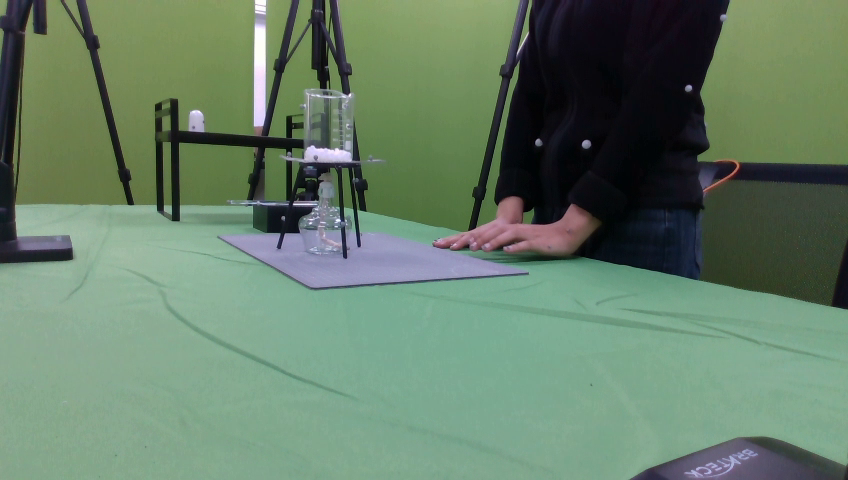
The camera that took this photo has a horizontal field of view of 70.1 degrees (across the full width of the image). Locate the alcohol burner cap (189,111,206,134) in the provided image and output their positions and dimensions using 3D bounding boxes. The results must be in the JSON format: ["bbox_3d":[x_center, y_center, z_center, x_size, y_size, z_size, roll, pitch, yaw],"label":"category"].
[{"bbox_3d":[-0.469,-0.244,1.252,0.034,0.048,0.034,1,7,0],"label":"alcohol burner cap"}]

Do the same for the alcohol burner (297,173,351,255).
[{"bbox_3d":[-0.144,-0.038,0.879,0.078,0.119,0.078,4,6,0],"label":"alcohol burner"}]

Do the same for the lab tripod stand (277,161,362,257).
[{"bbox_3d":[-0.143,-0.049,0.884,0.148,0.131,0.148,1,9,0],"label":"lab tripod stand"}]

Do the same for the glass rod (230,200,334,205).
[{"bbox_3d":[-0.265,-0.070,1.144,0.201,0.008,0.008,-1,8,-31],"label":"glass rod"}]

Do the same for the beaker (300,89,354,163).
[{"bbox_3d":[-0.137,-0.161,0.869,0.083,0.100,0.074,9,10,42],"label":"beaker"}]

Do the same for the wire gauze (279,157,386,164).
[{"bbox_3d":[-0.134,-0.113,0.875,0.122,0.011,0.124,-1,6,-30],"label":"wire gauze"}]
